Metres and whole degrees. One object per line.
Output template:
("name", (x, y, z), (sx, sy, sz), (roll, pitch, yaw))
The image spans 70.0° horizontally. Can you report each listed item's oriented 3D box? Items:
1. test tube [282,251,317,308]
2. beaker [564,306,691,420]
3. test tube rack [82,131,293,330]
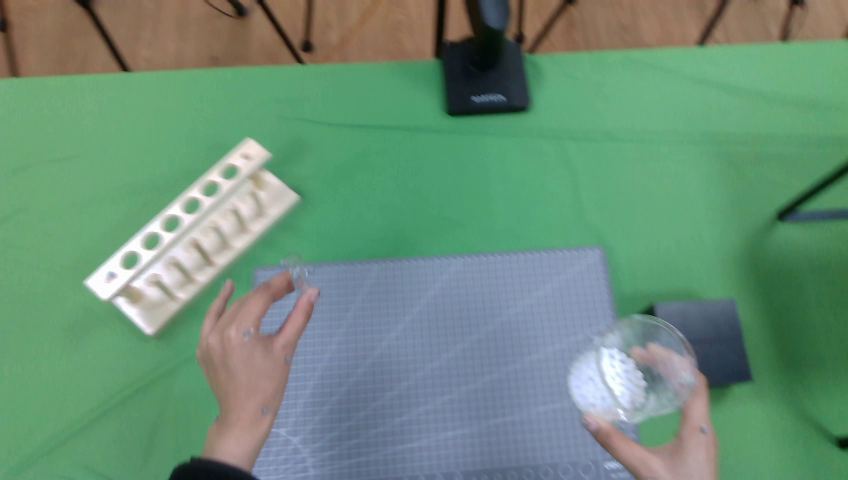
("test tube", (-0.114, 0.040, 0.565), (0.017, 0.151, 0.017), (2, 70, -4))
("beaker", (0.157, 0.107, 0.489), (0.074, 0.101, 0.083), (20, 68, 6))
("test tube rack", (-0.271, -0.012, 0.724), (0.066, 0.085, 0.242), (39, 72, 11))
